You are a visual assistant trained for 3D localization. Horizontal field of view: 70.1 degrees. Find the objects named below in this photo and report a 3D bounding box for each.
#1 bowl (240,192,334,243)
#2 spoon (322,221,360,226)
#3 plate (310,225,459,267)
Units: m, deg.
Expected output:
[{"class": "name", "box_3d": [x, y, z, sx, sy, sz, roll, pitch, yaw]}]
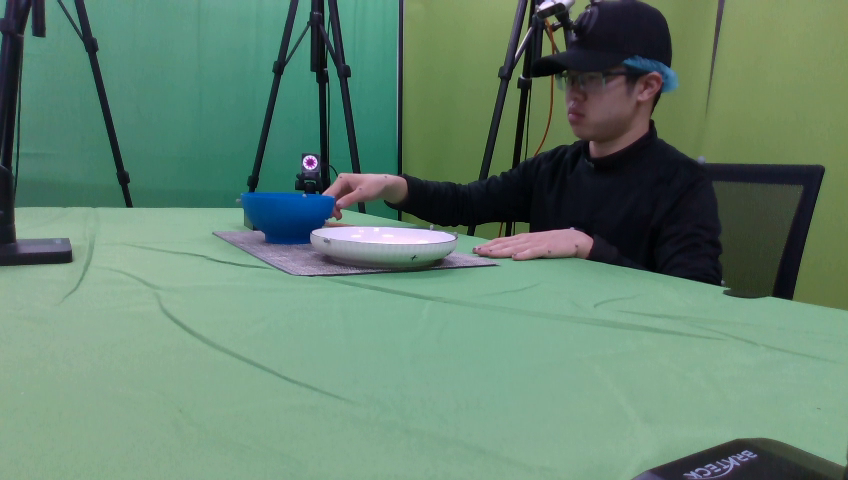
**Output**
[{"class": "bowl", "box_3d": [-0.223, -0.037, 0.992, 0.151, 0.077, 0.151, 2, 7, 0]}, {"class": "spoon", "box_3d": [-0.197, -0.028, 1.149, 0.195, 0.021, 0.041, -2, -11, -30]}, {"class": "plate", "box_3d": [-0.055, 0.008, 0.851, 0.208, 0.039, 0.207, 2, 7, 0]}]
